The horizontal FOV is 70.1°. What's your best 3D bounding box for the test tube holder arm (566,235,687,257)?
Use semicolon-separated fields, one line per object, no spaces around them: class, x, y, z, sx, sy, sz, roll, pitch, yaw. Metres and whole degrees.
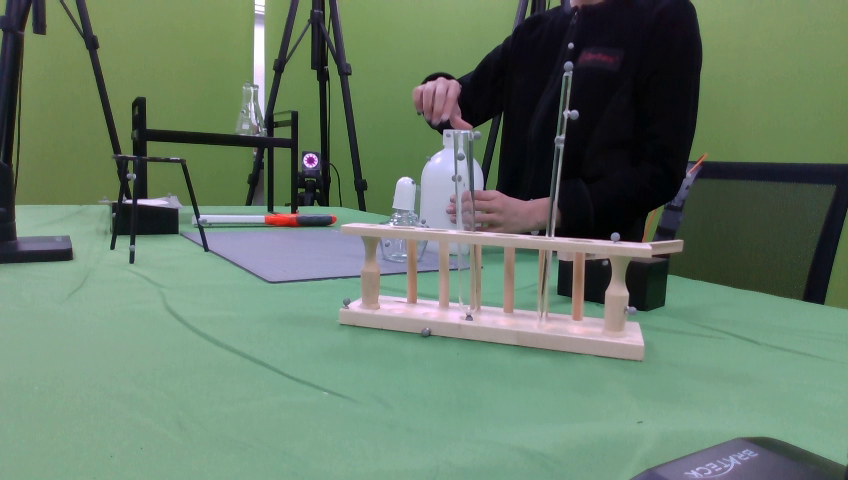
test tube holder arm;0.215;0.006;0.630;0.179;0.015;0.013;-3;9;-31

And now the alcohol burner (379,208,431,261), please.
alcohol burner;-0.027;-0.031;0.838;0.078;0.119;0.078;0;6;0

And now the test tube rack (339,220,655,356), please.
test tube rack;0.056;0.032;0.495;0.242;0.085;0.067;4;7;15

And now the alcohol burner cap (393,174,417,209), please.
alcohol burner cap;-0.025;-0.067;0.834;0.034;0.048;0.034;8;7;-1

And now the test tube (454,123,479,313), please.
test tube;0.034;-0.016;0.477;0.017;0.150;0.017;-2;9;1

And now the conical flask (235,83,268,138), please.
conical flask;-0.402;-0.299;1.406;0.075;0.122;0.075;2;7;0

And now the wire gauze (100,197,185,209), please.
wire gauze;-0.469;-0.062;1.008;0.126;0.011;0.121;-2;8;-25

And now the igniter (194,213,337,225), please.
igniter;-0.306;-0.042;1.196;0.278;0.025;0.057;-2;-2;-31

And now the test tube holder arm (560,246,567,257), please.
test tube holder arm;0.173;0.007;0.611;0.088;0.015;0.010;-3;9;-30

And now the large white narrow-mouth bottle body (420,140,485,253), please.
large white narrow-mouth bottle body;0.046;-0.081;0.956;0.102;0.194;0.102;2;8;0

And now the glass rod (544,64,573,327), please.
glass rod;0.101;-0.028;0.453;0.008;0.199;0.008;2;14;0

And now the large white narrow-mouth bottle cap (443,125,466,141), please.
large white narrow-mouth bottle cap;0.048;-0.166;0.944;0.038;0.024;0.037;2;8;0

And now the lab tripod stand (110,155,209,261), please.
lab tripod stand;-0.361;-0.046;0.806;0.148;0.131;0.148;2;5;0

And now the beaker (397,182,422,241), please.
beaker;-0.011;-0.051;1.078;0.074;0.100;0.083;-2;9;-26
